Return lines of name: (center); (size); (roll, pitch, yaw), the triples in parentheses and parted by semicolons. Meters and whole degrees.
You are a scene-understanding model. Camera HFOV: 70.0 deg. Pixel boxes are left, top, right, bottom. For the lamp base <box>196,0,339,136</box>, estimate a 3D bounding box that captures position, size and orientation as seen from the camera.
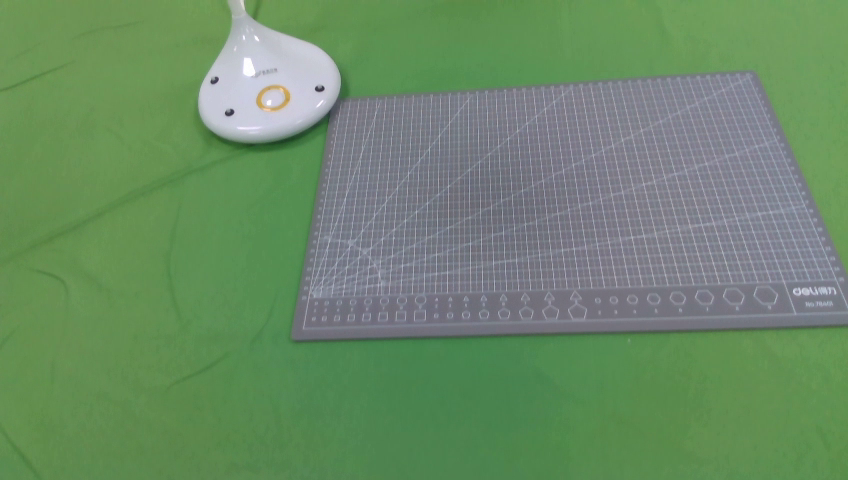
lamp base: (-0.190, -0.228, 0.622); (0.161, 0.182, 0.177); (-27, 52, -12)
